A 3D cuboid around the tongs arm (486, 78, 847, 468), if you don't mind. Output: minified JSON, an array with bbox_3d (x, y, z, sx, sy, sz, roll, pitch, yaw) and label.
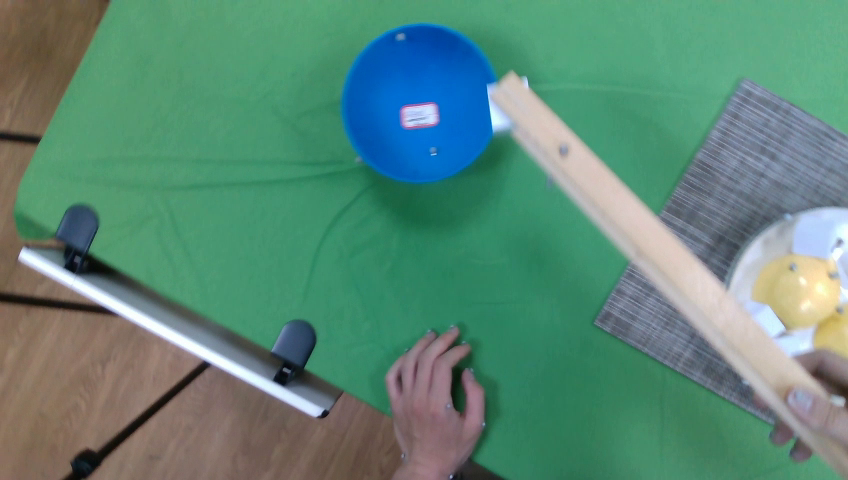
[{"bbox_3d":[0.185,0.027,0.434,0.028,0.028,0.386,-43,84,0],"label":"tongs arm"}]

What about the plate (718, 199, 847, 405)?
[{"bbox_3d":[0.401,0.062,0.618,0.207,0.039,0.207,0,92,2],"label":"plate"}]

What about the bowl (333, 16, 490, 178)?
[{"bbox_3d":[-0.010,-0.134,0.609,0.151,0.077,0.151,0,92,2],"label":"bowl"}]

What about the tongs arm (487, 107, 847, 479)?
[{"bbox_3d":[0.188,0.028,0.458,0.026,0.051,0.384,-43,88,3],"label":"tongs arm"}]

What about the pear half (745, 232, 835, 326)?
[{"bbox_3d":[0.381,0.033,0.604,0.076,0.056,0.110,39,89,-3],"label":"pear half"}]

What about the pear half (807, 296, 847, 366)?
[{"bbox_3d":[0.439,0.093,0.612,0.088,0.031,0.070,-29,94,9],"label":"pear half"}]
